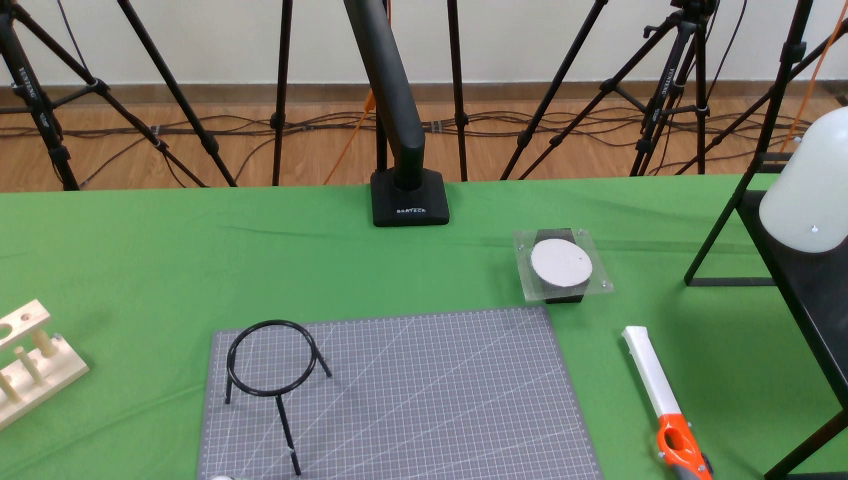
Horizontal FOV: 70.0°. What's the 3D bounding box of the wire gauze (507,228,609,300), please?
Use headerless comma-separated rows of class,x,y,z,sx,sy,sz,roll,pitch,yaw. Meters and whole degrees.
wire gauze,0.183,0.028,0.844,0.122,0.011,0.123,-2,49,-7

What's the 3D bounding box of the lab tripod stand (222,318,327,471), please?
lab tripod stand,-0.161,0.162,0.667,0.148,0.132,0.147,4,48,-4

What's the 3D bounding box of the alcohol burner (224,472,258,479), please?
alcohol burner,-0.192,0.259,0.590,0.078,0.120,0.077,4,46,-4

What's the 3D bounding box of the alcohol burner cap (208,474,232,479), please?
alcohol burner cap,-0.189,0.236,0.563,0.034,0.048,0.033,2,54,-3

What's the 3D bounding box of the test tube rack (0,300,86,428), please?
test tube rack,-0.512,0.177,0.656,0.066,0.086,0.242,35,54,24

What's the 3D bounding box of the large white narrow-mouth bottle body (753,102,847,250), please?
large white narrow-mouth bottle body,0.452,-0.085,0.667,0.102,0.196,0.101,3,48,-2

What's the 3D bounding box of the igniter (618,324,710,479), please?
igniter,0.295,0.219,0.734,0.057,0.025,0.273,5,47,-15
